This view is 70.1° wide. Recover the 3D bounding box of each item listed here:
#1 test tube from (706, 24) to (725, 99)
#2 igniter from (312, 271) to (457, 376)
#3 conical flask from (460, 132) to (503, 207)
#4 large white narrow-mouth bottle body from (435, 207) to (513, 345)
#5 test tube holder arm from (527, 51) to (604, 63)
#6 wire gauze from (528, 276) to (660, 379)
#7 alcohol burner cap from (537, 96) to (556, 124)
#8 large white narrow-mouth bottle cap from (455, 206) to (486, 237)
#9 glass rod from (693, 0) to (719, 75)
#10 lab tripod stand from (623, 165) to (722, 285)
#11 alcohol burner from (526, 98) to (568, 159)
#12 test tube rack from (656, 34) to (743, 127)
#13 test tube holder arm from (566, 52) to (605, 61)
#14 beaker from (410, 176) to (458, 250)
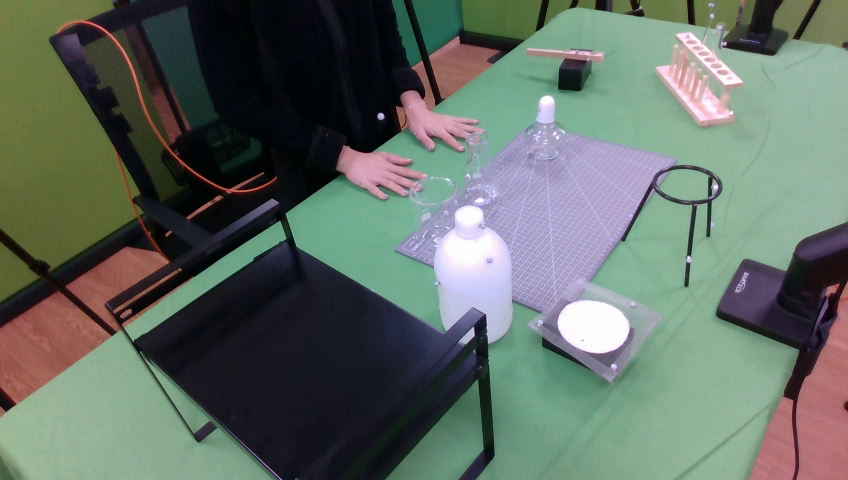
[{"bbox_3d":[0.564,-0.342,1.169,0.017,0.151,0.017,-7,39,6],"label":"test tube"},{"bbox_3d":[-0.068,0.111,0.859,0.274,0.025,0.057,27,61,34],"label":"igniter"},{"bbox_3d":[0.096,-0.123,1.030,0.075,0.122,0.075,-4,40,4],"label":"conical flask"},{"bbox_3d":[0.065,0.041,0.791,0.102,0.195,0.101,-4,41,4],"label":"large white narrow-mouth bottle body"},{"bbox_3d":[0.311,-0.408,1.344,0.177,0.015,0.013,14,37,30],"label":"test tube holder arm"},{"bbox_3d":[0.214,0.103,0.763,0.124,0.011,0.122,30,52,35],"label":"wire gauze"},{"bbox_3d":[0.223,-0.237,1.095,0.034,0.048,0.033,-2,37,2],"label":"alcohol burner cap"},{"bbox_3d":[0.057,-0.023,0.734,0.038,0.024,0.037,-4,40,4],"label":"large white narrow-mouth bottle cap"},{"bbox_3d":[0.561,-0.402,1.214,0.008,0.200,0.008,-1,49,2],"label":"glass rod"},{"bbox_3d":[0.365,-0.030,0.875,0.148,0.132,0.147,-6,41,6],"label":"lab tripod stand"},{"bbox_3d":[0.228,-0.210,1.118,0.078,0.119,0.077,-5,43,5],"label":"alcohol burner"},{"bbox_3d":[0.553,-0.330,1.233,0.067,0.085,0.241,-7,40,2],"label":"test tube rack"},{"bbox_3d":[0.352,-0.401,1.325,0.087,0.015,0.010,15,38,30],"label":"test tube holder arm"},{"bbox_3d":[0.022,-0.041,0.964,0.073,0.101,0.084,28,51,35],"label":"beaker"}]
